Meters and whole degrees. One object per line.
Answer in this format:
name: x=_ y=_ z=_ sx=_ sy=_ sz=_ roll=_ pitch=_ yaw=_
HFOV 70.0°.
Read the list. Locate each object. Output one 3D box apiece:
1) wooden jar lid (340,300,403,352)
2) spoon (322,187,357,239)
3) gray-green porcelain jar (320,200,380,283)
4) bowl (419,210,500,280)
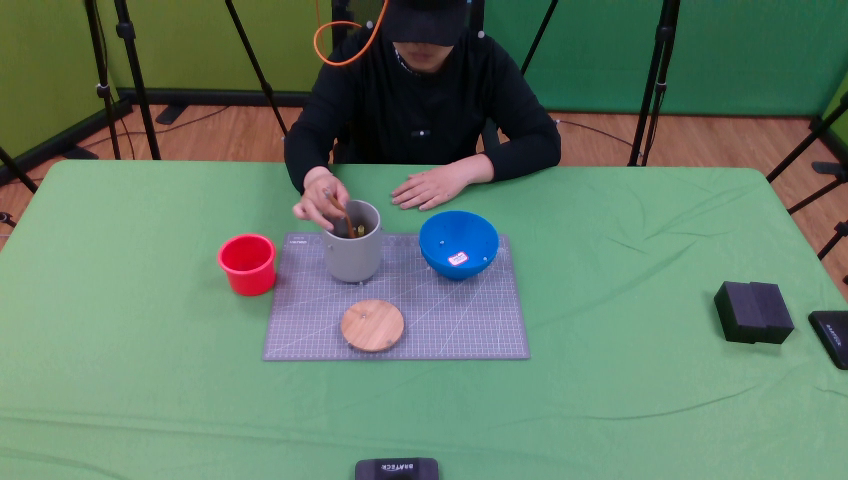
wooden jar lid: x=-0.090 y=0.150 z=1.046 sx=0.108 sy=0.021 sz=0.107 roll=3 pitch=47 yaw=-3
spoon: x=-0.142 y=-0.038 z=1.080 sx=0.021 sy=0.195 sz=0.041 roll=-28 pitch=55 yaw=-6
gray-green porcelain jar: x=-0.132 y=0.007 z=1.106 sx=0.106 sy=0.127 sz=0.105 roll=2 pitch=46 yaw=-2
bowl: x=0.062 y=0.022 z=1.140 sx=0.151 sy=0.077 sz=0.150 roll=2 pitch=46 yaw=-2
